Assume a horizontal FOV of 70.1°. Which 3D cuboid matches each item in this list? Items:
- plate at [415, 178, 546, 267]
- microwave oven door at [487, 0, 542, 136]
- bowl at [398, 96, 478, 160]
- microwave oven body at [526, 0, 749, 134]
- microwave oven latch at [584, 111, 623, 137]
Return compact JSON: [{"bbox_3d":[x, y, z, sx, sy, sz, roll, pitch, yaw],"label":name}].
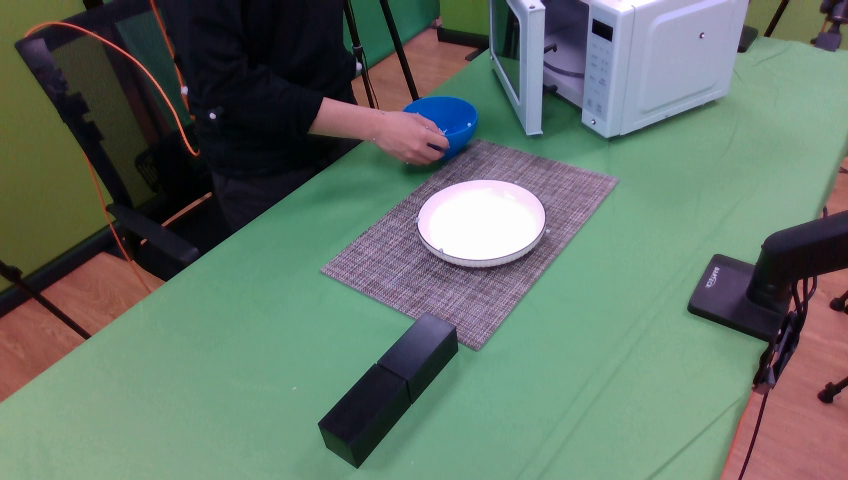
[{"bbox_3d":[0.091,-0.026,0.970,0.207,0.039,0.206,-4,41,4],"label":"plate"},{"bbox_3d":[0.178,-0.405,1.222,0.039,0.245,0.353,-9,40,-2],"label":"microwave oven door"},{"bbox_3d":[0.028,-0.207,1.161,0.151,0.077,0.150,-2,40,2],"label":"bowl"},{"bbox_3d":[0.382,-0.444,1.246,0.327,0.261,0.437,-22,42,-16],"label":"microwave oven body"},{"bbox_3d":[0.337,-0.222,1.142,0.030,0.029,0.078,-21,42,-14],"label":"microwave oven latch"}]
